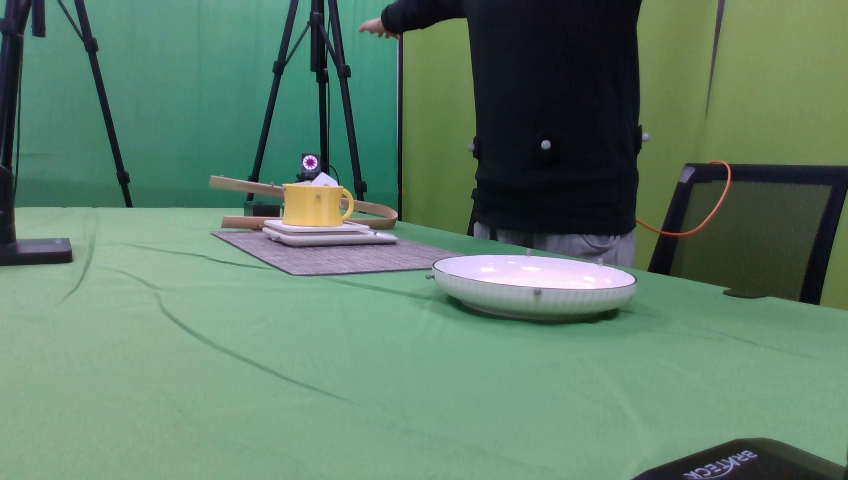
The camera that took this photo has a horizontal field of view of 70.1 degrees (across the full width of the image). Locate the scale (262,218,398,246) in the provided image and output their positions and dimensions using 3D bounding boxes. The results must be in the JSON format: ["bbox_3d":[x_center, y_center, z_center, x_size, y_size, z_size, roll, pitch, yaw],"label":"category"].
[{"bbox_3d":[-0.160,-0.016,1.028,0.202,0.031,0.148,-2,9,-32],"label":"scale"}]

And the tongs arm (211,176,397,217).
[{"bbox_3d":[-0.240,-0.084,1.257,0.387,0.026,0.050,7,28,-27],"label":"tongs arm"}]

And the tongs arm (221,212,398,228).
[{"bbox_3d":[-0.208,-0.039,1.197,0.390,0.028,0.028,-1,29,-38],"label":"tongs arm"}]

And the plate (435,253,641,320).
[{"bbox_3d":[0.114,0.047,0.626,0.208,0.039,0.207,2,7,0],"label":"plate"}]

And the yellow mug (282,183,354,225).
[{"bbox_3d":[-0.172,-0.061,1.009,0.131,0.064,0.099,-2,7,-41],"label":"yellow mug"}]
